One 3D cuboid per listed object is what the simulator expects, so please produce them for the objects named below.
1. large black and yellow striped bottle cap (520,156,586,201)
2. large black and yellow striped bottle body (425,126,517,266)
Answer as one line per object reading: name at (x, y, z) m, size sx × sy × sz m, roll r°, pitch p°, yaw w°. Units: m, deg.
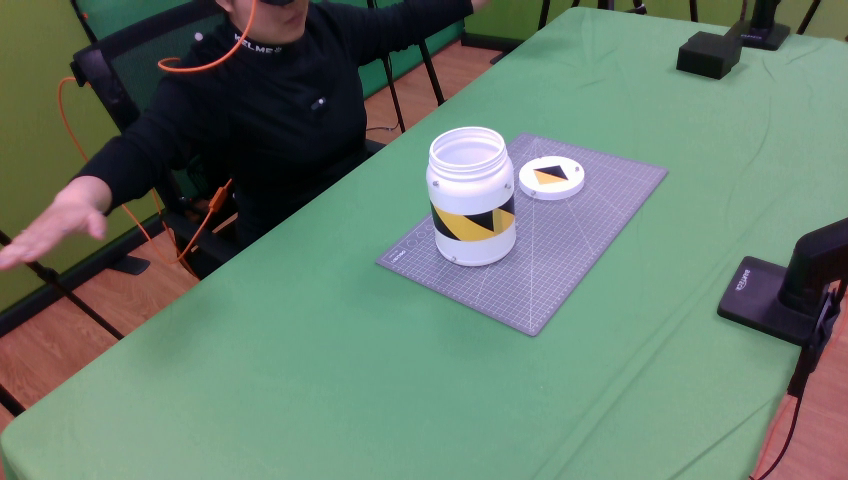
large black and yellow striped bottle cap at (0.228, -0.111, 1.072) m, size 0.115 × 0.019 × 0.114 m, roll -6°, pitch 40°, yaw 6°
large black and yellow striped bottle body at (0.072, -0.066, 0.917) m, size 0.131 × 0.185 × 0.130 m, roll -5°, pitch 40°, yaw 5°
